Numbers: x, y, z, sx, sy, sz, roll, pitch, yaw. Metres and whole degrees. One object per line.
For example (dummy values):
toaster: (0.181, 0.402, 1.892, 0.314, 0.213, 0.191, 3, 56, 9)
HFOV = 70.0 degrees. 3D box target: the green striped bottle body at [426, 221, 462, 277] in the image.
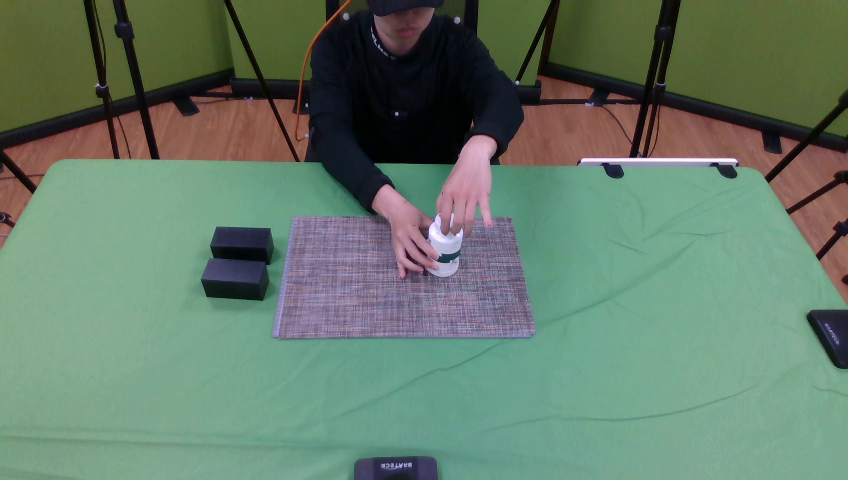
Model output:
green striped bottle body: (0.037, 0.007, 1.121, 0.063, 0.120, 0.063, 2, 46, -2)

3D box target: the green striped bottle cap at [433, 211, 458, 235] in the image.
green striped bottle cap: (0.039, -0.031, 1.083, 0.044, 0.020, 0.044, 7, 44, -6)
